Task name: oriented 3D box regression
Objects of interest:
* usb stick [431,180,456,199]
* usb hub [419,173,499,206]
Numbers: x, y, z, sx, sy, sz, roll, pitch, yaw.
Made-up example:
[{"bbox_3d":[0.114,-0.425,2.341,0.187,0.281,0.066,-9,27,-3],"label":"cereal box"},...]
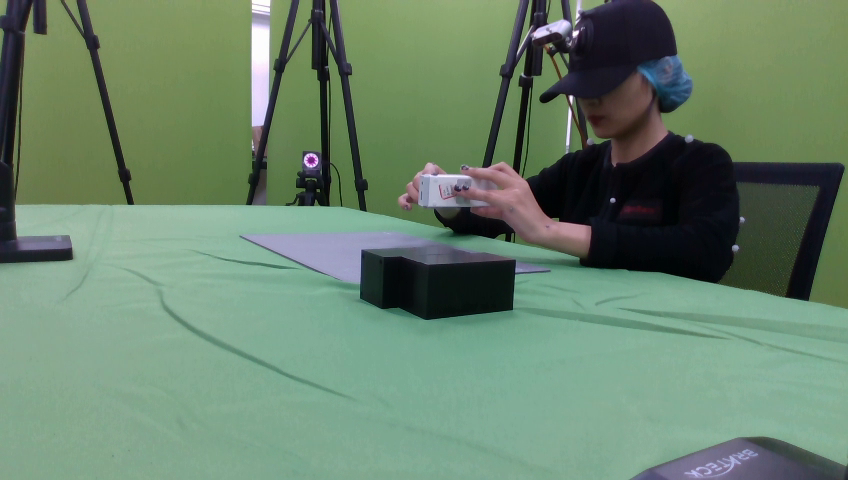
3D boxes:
[{"bbox_3d":[0.033,-0.081,0.965,0.021,0.027,0.059,-18,15,-18],"label":"usb stick"},{"bbox_3d":[0.054,-0.079,0.930,0.126,0.049,0.025,-3,14,-22],"label":"usb hub"}]
